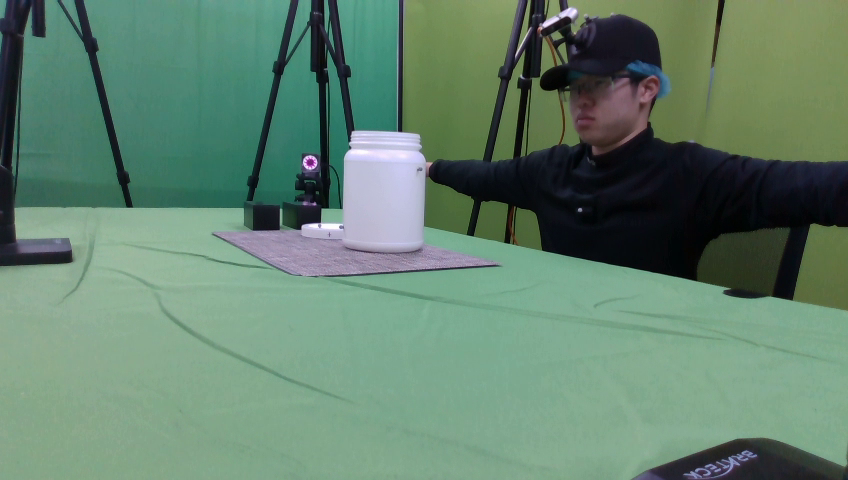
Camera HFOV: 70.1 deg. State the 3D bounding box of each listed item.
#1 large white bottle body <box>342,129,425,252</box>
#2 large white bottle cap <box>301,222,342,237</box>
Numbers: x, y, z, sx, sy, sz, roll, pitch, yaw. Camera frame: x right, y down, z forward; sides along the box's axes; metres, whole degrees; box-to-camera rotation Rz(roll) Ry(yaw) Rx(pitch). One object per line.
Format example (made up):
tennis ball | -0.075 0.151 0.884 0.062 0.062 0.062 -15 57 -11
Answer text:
large white bottle body | -0.064 -0.080 0.958 0.131 0.184 0.130 2 8 0
large white bottle cap | -0.167 -0.019 1.103 0.115 0.018 0.115 2 7 0
